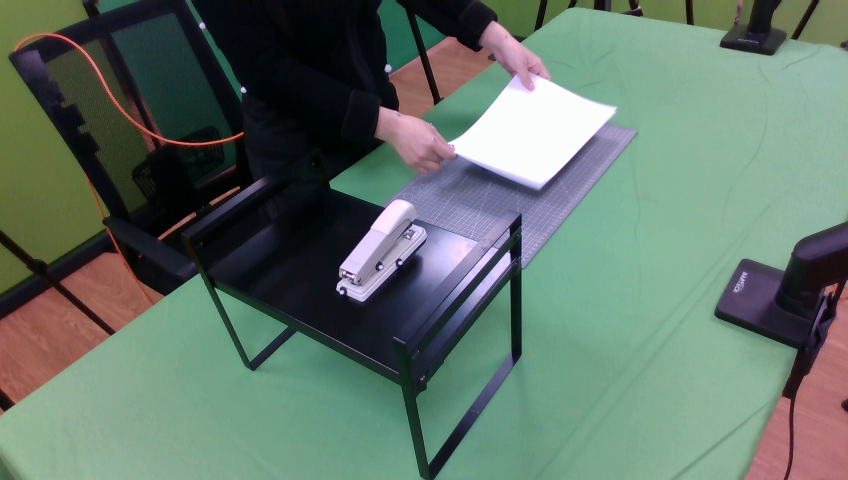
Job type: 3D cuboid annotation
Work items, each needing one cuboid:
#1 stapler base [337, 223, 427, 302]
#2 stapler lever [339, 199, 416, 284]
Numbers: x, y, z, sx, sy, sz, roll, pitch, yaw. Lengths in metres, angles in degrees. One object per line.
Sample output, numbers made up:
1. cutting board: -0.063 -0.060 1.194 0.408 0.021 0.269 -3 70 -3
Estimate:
1. stapler base: -0.046 0.016 0.685 0.041 0.024 0.131 18 48 31
2. stapler lever: -0.050 -0.002 0.668 0.026 0.040 0.118 17 47 31
